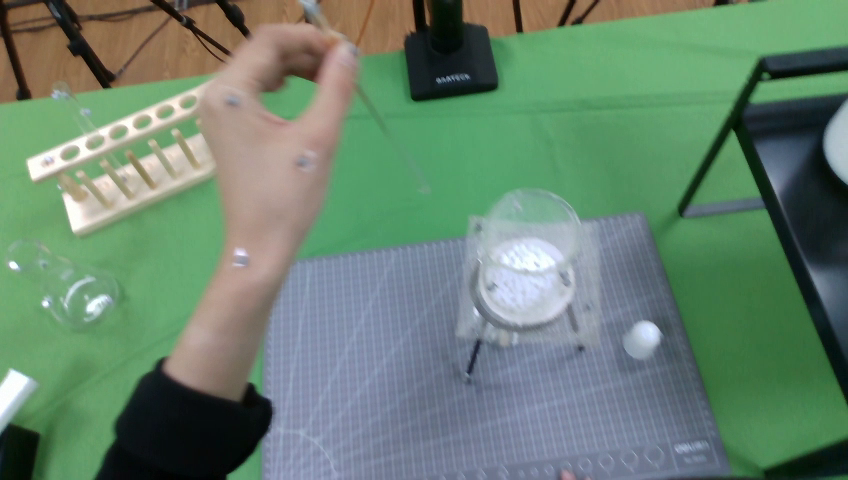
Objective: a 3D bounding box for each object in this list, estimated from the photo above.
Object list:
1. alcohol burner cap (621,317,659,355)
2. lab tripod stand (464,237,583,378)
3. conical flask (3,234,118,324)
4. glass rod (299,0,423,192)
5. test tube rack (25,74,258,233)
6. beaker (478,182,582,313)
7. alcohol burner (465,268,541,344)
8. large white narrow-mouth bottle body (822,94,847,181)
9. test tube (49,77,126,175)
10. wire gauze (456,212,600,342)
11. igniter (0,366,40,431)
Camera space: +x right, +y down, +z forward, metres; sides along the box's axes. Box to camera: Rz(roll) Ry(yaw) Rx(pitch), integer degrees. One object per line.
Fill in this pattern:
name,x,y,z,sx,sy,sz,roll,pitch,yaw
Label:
alcohol burner cap,0.224,0.096,0.622,0.034,0.048,0.033,-2,62,4
lab tripod stand,0.093,0.066,0.595,0.148,0.132,0.147,-1,61,2
conical flask,-0.395,0.037,0.654,0.075,0.123,0.074,-2,62,4
glass rod,-0.039,-0.087,0.331,0.008,0.202,0.008,-12,53,17
test tube rack,-0.340,-0.106,0.746,0.242,0.086,0.066,-27,63,-10
beaker,0.080,0.013,0.494,0.084,0.101,0.073,-29,64,-11
alcohol burner,0.081,0.060,0.610,0.078,0.120,0.077,-1,61,2
large white narrow-mouth bottle body,0.384,-0.119,0.437,0.102,0.196,0.101,-2,62,5
test tube,-0.386,-0.127,0.704,0.017,0.151,0.017,-2,56,3
wire gauze,0.094,0.030,0.539,0.121,0.011,0.124,5,61,4
igniter,-0.458,0.243,0.551,0.057,0.025,0.275,17,64,23
